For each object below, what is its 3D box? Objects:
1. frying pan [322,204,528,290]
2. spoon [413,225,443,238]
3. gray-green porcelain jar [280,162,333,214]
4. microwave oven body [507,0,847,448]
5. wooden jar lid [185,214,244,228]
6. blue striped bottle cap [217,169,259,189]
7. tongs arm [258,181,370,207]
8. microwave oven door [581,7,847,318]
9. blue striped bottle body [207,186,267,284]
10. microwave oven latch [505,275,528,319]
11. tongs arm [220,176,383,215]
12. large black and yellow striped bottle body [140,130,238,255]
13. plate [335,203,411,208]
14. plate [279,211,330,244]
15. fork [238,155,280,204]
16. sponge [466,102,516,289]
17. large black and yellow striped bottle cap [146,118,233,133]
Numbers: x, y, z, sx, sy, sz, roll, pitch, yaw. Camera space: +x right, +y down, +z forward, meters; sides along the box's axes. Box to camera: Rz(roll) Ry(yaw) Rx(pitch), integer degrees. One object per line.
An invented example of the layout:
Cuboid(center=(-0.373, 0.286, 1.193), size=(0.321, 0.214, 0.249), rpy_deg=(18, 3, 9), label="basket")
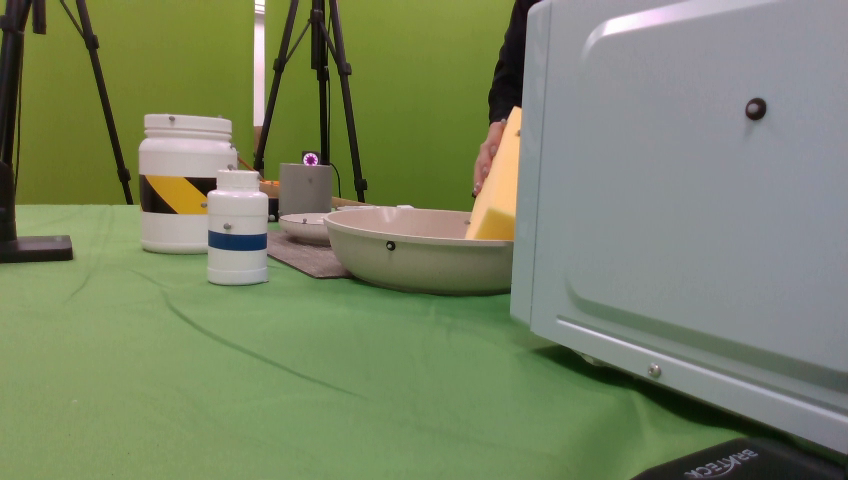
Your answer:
Cuboid(center=(0.109, -0.017, 0.800), size=(0.490, 0.102, 0.305), rpy_deg=(-12, 16, -30), label="frying pan")
Cuboid(center=(0.016, -0.020, 1.113), size=(0.041, 0.021, 0.194), rpy_deg=(-14, 3, 12), label="spoon")
Cuboid(center=(-0.238, -0.092, 1.221), size=(0.106, 0.126, 0.106), rpy_deg=(2, 7, 0), label="gray-green porcelain jar")
Cuboid(center=(0.331, -0.042, 0.425), size=(0.444, 0.260, 0.324), rpy_deg=(-2, 8, -31), label="microwave oven body")
Cuboid(center=(-0.404, -0.037, 1.169), size=(0.108, 0.020, 0.108), rpy_deg=(3, 7, 0), label="wooden jar lid")
Cuboid(center=(-0.202, -0.067, 0.656), size=(0.044, 0.020, 0.044), rpy_deg=(0, 10, 0), label="blue striped bottle cap")
Cuboid(center=(-0.241, -0.095, 1.373), size=(0.387, 0.026, 0.050), rpy_deg=(9, 0, -37), label="tongs arm")
Cuboid(center=(0.295, -0.067, 0.569), size=(0.358, 0.243, 0.039), rpy_deg=(-3, 8, -31), label="microwave oven door")
Cuboid(center=(-0.204, -0.016, 0.663), size=(0.063, 0.120, 0.063), rpy_deg=(2, 7, 0), label="blue striped bottle body")
Cuboid(center=(0.100, 0.042, 0.471), size=(0.079, 0.029, 0.030), rpy_deg=(-2, 7, -29), label="microwave oven latch")
Cuboid(center=(-0.285, -0.103, 1.445), size=(0.389, 0.027, 0.028), rpy_deg=(9, -4, -23), label="tongs arm")
Cuboid(center=(-0.336, -0.078, 0.871), size=(0.131, 0.184, 0.130), rpy_deg=(2, 8, 0), label="large black and yellow striped bottle body")
Cuboid(center=(-0.089, -0.053, 1.309), size=(0.208, 0.039, 0.207), rpy_deg=(2, 8, 0), label="plate")
Cuboid(center=(-0.139, -0.022, 1.021), size=(0.209, 0.038, 0.209), rpy_deg=(2, 8, 0), label="plate")
Cuboid(center=(-0.396, -0.143, 1.486), size=(0.028, 0.018, 0.208), rpy_deg=(19, -26, 44), label="fork")
Cuboid(center=(0.102, -0.058, 0.725), size=(0.061, 0.118, 0.207), rpy_deg=(20, 44, -2), label="sponge")
Cuboid(center=(-0.333, -0.163, 0.860), size=(0.115, 0.019, 0.115), rpy_deg=(1, 9, 0), label="large black and yellow striped bottle cap")
